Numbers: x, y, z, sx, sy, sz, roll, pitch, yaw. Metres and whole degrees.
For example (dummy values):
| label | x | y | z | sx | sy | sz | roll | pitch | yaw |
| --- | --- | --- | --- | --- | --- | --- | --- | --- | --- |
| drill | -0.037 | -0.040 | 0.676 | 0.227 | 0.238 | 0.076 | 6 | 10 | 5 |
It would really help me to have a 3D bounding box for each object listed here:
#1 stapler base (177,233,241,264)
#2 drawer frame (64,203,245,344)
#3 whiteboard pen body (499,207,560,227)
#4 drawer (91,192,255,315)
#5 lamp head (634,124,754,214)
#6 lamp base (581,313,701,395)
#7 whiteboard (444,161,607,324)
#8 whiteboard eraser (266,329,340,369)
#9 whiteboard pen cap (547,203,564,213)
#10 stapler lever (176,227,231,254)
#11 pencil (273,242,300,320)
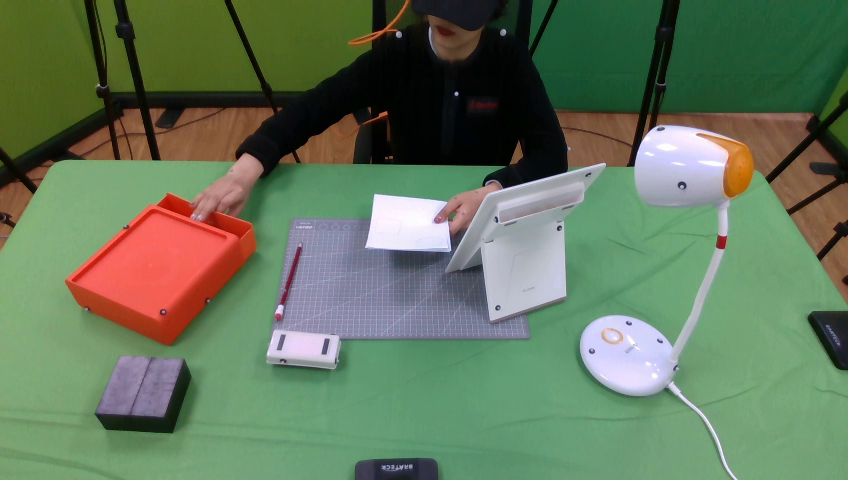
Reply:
| label | x | y | z | sx | sy | sz | roll | pitch | yaw |
| --- | --- | --- | --- | --- | --- | --- | --- | --- | --- |
| stapler base | -0.409 | 0.011 | 1.144 | 0.130 | 0.024 | 0.041 | 15 | 50 | 20 |
| drawer frame | -0.465 | 0.052 | 1.069 | 0.201 | 0.083 | 0.213 | 19 | 49 | 13 |
| whiteboard pen body | 0.221 | -0.051 | 1.259 | 0.141 | 0.017 | 0.017 | -15 | 49 | -15 |
| drawer | -0.449 | 0.025 | 1.096 | 0.194 | 0.073 | 0.211 | 21 | 47 | 14 |
| lamp head | 0.351 | -0.089 | 0.776 | 0.112 | 0.113 | 0.122 | -30 | 30 | -28 |
| lamp base | 0.361 | 0.144 | 0.973 | 0.178 | 0.181 | 0.160 | 34 | 53 | 23 |
| whiteboard | 0.186 | 0.025 | 1.029 | 0.217 | 0.306 | 0.143 | -15 | 68 | -18 |
| whiteboard eraser | -0.198 | 0.181 | 0.994 | 0.113 | 0.042 | 0.055 | 5 | 45 | 1 |
| whiteboard pen cap | 0.277 | -0.066 | 1.275 | 0.033 | 0.018 | 0.018 | -18 | 50 | -15 |
| stapler lever | -0.412 | -0.004 | 1.128 | 0.118 | 0.040 | 0.026 | 17 | 51 | 18 |
| pencil | -0.250 | 0.071 | 1.115 | 0.012 | 0.012 | 0.193 | 5 | 43 | 1 |
